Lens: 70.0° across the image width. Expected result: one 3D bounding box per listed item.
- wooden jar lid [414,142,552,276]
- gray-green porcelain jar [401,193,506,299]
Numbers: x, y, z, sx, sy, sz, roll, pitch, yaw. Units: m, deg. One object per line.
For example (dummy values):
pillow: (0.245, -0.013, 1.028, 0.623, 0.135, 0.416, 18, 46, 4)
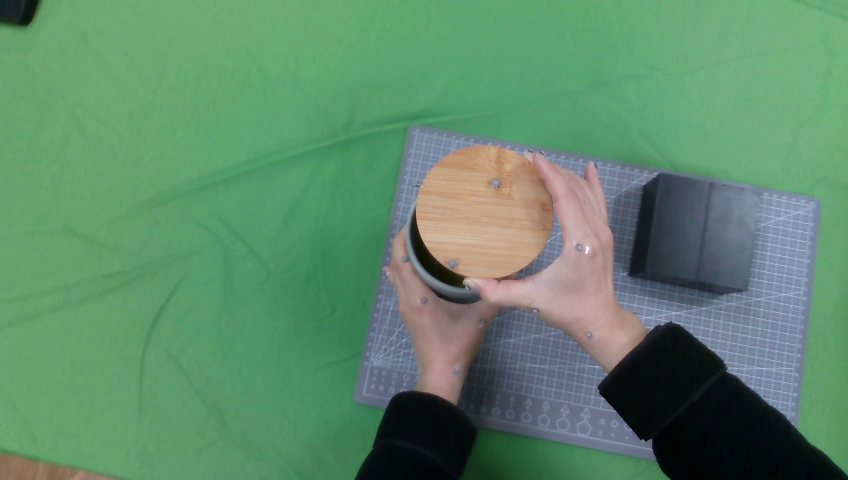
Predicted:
wooden jar lid: (0.046, -0.024, 0.480, 0.108, 0.021, 0.108, 0, 80, 1)
gray-green porcelain jar: (0.032, 0.002, 0.578, 0.106, 0.127, 0.105, 0, 81, -1)
